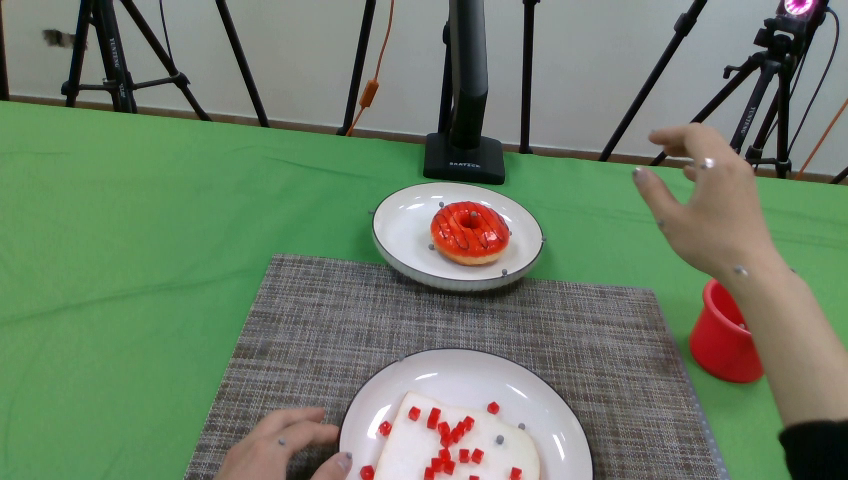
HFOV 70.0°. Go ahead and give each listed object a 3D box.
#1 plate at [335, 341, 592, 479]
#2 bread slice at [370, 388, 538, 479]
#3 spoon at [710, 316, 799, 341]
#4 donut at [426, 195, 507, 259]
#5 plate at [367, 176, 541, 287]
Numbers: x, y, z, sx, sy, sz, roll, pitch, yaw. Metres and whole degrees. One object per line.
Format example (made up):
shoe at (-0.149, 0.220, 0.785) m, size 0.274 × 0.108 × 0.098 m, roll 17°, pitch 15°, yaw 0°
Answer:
plate at (0.031, 0.173, 0.502) m, size 0.209 × 0.038 × 0.207 m, roll 4°, pitch 39°, yaw -3°
bread slice at (0.029, 0.177, 0.502) m, size 0.131 × 0.019 × 0.104 m, roll 11°, pitch 39°, yaw 9°
spoon at (0.315, 0.083, 0.580) m, size 0.041 × 0.021 × 0.194 m, roll 18°, pitch -4°, yaw 13°
donut at (0.051, -0.016, 0.726) m, size 0.099 × 0.048 × 0.098 m, roll 5°, pitch 39°, yaw -4°
plate at (0.035, -0.008, 0.734) m, size 0.208 × 0.039 × 0.205 m, roll 5°, pitch 36°, yaw -3°
